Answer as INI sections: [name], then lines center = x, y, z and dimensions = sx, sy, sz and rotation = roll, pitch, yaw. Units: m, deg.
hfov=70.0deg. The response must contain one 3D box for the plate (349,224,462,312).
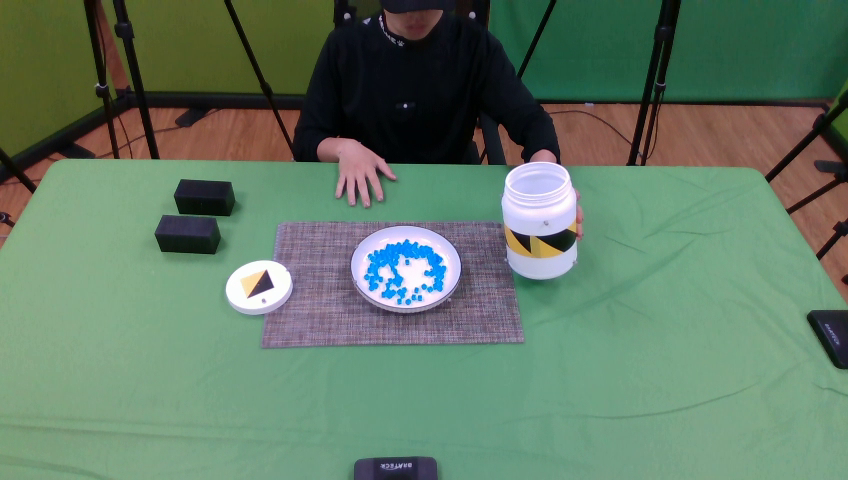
[plate]
center = -0.035, 0.054, 1.126
dimensions = 0.208, 0.039, 0.206
rotation = 2, 46, -2

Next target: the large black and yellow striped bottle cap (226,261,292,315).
[large black and yellow striped bottle cap]
center = -0.298, 0.085, 1.092
dimensions = 0.115, 0.019, 0.114
rotation = 0, 45, 1

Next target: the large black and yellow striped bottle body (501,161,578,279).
[large black and yellow striped bottle body]
center = 0.207, -0.036, 1.084
dimensions = 0.131, 0.185, 0.130
rotation = -7, 37, 6
